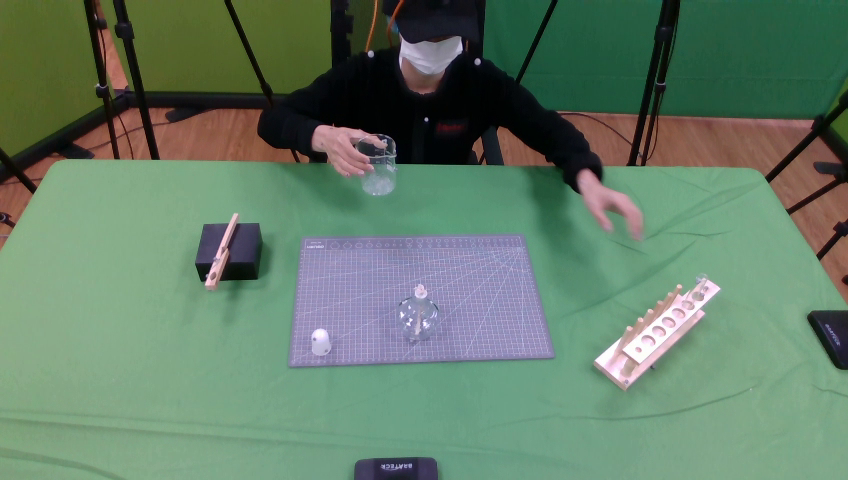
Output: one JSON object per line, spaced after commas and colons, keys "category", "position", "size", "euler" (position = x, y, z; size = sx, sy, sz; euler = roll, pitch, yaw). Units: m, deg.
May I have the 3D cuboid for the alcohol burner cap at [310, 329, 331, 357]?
{"category": "alcohol burner cap", "position": [-0.173, 0.168, 1.005], "size": [0.034, 0.048, 0.033], "euler": [2, 46, -2]}

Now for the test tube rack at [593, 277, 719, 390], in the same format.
{"category": "test tube rack", "position": [0.401, 0.148, 1.043], "size": [0.242, 0.085, 0.066], "euler": [-30, 55, -29]}

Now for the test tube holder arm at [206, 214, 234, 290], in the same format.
{"category": "test tube holder arm", "position": [-0.365, 0.017, 1.090], "size": [0.013, 0.015, 0.177], "euler": [8, 46, -9]}

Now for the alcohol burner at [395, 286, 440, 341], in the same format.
{"category": "alcohol burner", "position": [-0.010, 0.116, 1.018], "size": [0.078, 0.119, 0.077], "euler": [3, 47, -3]}

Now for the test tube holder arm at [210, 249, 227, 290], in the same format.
{"category": "test tube holder arm", "position": [-0.359, 0.050, 1.059], "size": [0.010, 0.015, 0.087], "euler": [8, 45, -9]}

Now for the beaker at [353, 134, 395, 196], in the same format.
{"category": "beaker", "position": [-0.089, -0.139, 1.149], "size": [0.083, 0.101, 0.074], "euler": [24, 49, 22]}

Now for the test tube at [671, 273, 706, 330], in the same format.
{"category": "test tube", "position": [0.443, 0.106, 1.018], "size": [0.017, 0.151, 0.017], "euler": [-1, 49, 1]}
